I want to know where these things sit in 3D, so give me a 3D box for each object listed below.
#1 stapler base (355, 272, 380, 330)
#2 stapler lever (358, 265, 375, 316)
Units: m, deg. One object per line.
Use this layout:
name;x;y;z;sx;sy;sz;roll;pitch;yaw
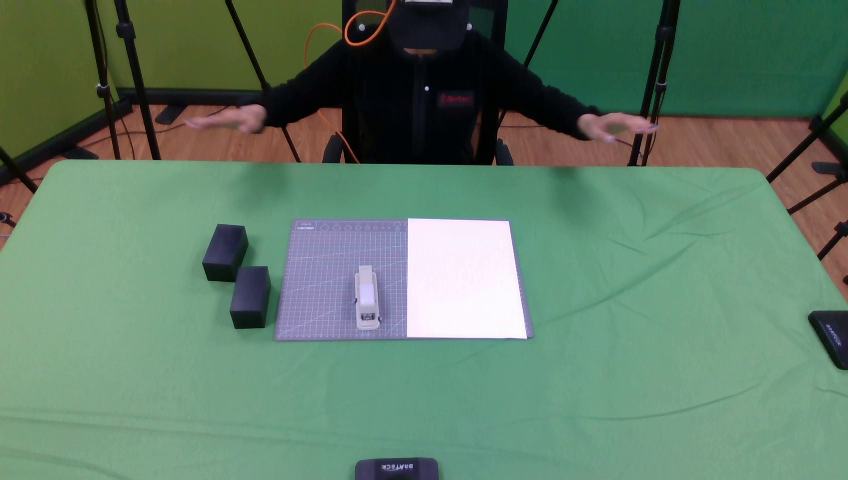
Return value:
stapler base;-0.103;0.102;1.087;0.041;0.024;0.129;-1;45;-8
stapler lever;-0.102;0.083;1.070;0.027;0.040;0.117;-1;44;-8
